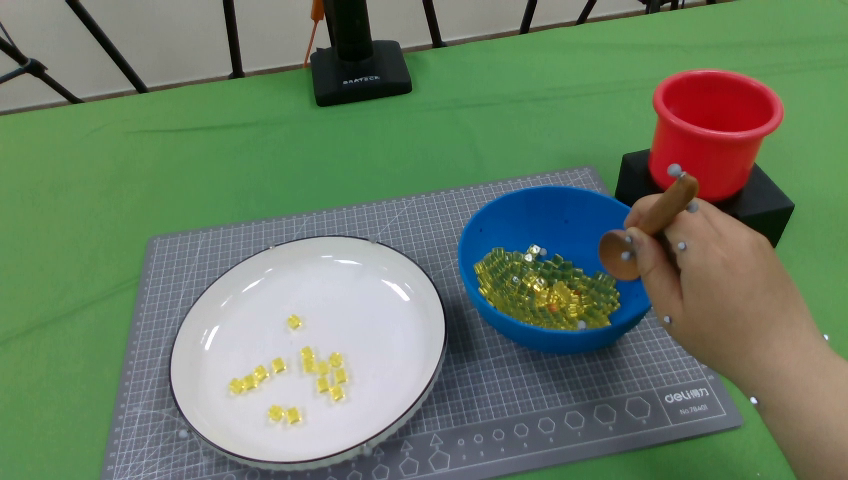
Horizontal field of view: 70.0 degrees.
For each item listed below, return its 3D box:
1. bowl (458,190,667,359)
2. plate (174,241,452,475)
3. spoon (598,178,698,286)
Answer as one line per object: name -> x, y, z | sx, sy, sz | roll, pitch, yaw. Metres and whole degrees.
bowl -> 0.102, 0.038, 0.470 | 0.151, 0.077, 0.150 | -3, 45, 3
plate -> -0.082, 0.085, 0.470 | 0.207, 0.039, 0.205 | -3, 45, 3
spoon -> 0.138, 0.000, 0.386 | 0.021, 0.195, 0.041 | -34, 75, 0
